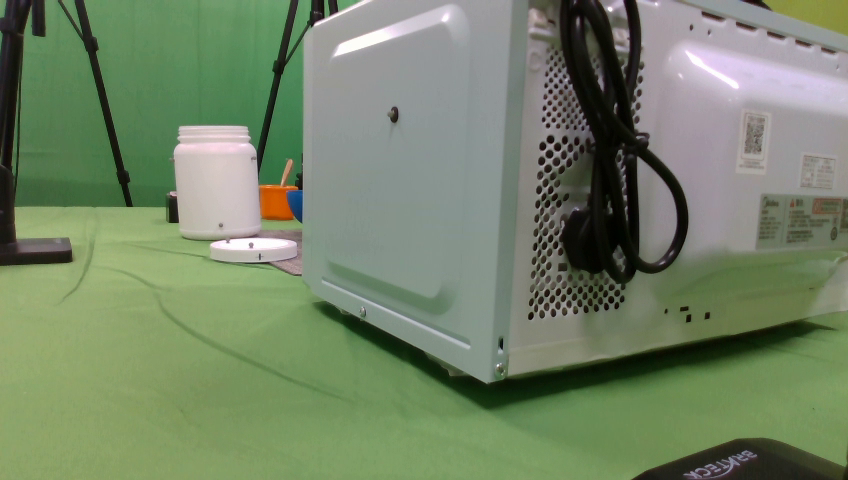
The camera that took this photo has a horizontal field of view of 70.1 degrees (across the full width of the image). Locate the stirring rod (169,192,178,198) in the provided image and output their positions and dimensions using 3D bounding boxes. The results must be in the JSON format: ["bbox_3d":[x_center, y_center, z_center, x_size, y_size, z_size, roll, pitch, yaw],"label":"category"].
[{"bbox_3d":[-0.465,-0.098,1.283,0.014,0.006,0.177,42,21,17],"label":"stirring rod"}]

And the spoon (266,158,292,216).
[{"bbox_3d":[-0.334,-0.127,1.423,0.041,0.193,0.022,0,-37,7],"label":"spoon"}]

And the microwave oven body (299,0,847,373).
[{"bbox_3d":[0.152,-0.055,0.543,0.444,0.260,0.324,-1,7,-33],"label":"microwave oven body"}]

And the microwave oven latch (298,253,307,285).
[{"bbox_3d":[-0.081,0.027,0.583,0.079,0.029,0.030,-2,7,-33],"label":"microwave oven latch"}]

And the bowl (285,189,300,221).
[{"bbox_3d":[-0.180,-0.050,1.113,0.151,0.077,0.151,3,8,0],"label":"bowl"}]

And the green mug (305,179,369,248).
[{"bbox_3d":[-0.133,-0.044,0.977,0.092,0.105,0.126,6,8,31],"label":"green mug"}]

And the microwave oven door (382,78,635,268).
[{"bbox_3d":[0.103,-0.100,0.853,0.354,0.243,0.039,6,8,26],"label":"microwave oven door"}]

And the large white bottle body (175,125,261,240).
[{"bbox_3d":[-0.349,-0.100,1.025,0.131,0.184,0.130,-1,9,0],"label":"large white bottle body"}]

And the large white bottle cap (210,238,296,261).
[{"bbox_3d":[-0.236,0.012,0.839,0.115,0.018,0.115,1,7,0],"label":"large white bottle cap"}]
